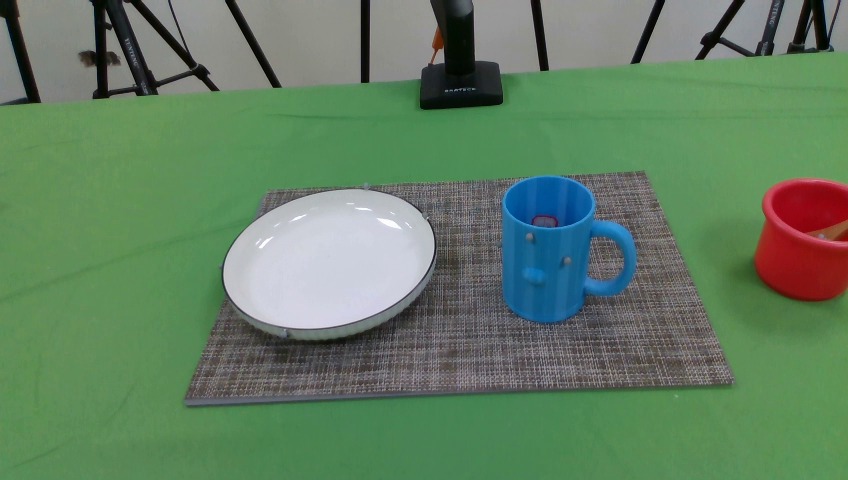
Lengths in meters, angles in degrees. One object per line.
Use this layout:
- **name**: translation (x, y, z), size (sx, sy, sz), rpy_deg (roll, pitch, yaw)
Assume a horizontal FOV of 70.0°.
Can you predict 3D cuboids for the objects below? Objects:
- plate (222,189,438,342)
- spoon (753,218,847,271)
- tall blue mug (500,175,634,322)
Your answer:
- **plate**: translation (-0.089, 0.024, 0.597), size (0.207, 0.039, 0.205), rpy_deg (-3, 40, 3)
- **spoon**: translation (0.379, -0.020, 0.513), size (0.194, 0.022, 0.041), rpy_deg (-35, 25, 39)
- **tall blue mug**: translation (0.121, 0.007, 0.534), size (0.107, 0.109, 0.077), rpy_deg (-7, 39, -1)
